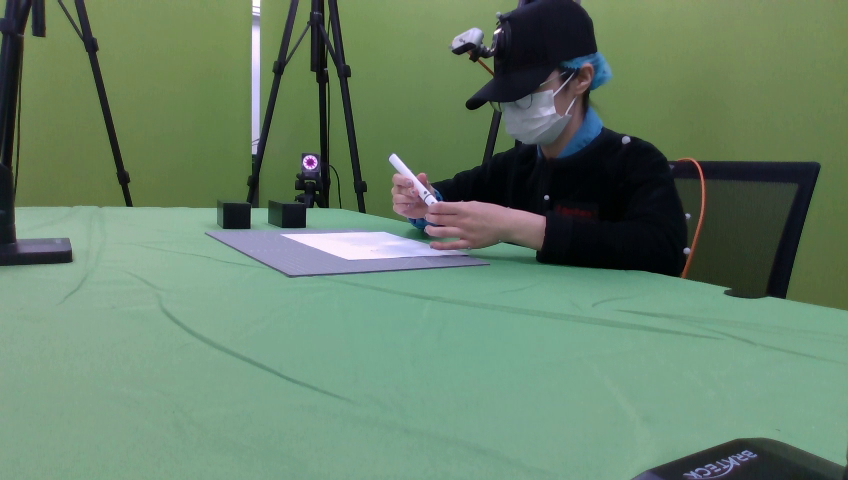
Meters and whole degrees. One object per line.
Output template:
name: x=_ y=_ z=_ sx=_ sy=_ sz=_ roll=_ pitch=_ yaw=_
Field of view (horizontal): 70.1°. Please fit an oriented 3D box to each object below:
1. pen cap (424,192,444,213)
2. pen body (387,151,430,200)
pen cap: x=0.017 y=-0.058 z=0.954 sx=0.017 sy=0.017 sz=0.038 roll=-4 pitch=44 yaw=-41
pen body: x=-0.017 y=-0.097 z=0.986 sx=0.017 sy=0.017 sz=0.143 roll=-5 pitch=44 yaw=-44
